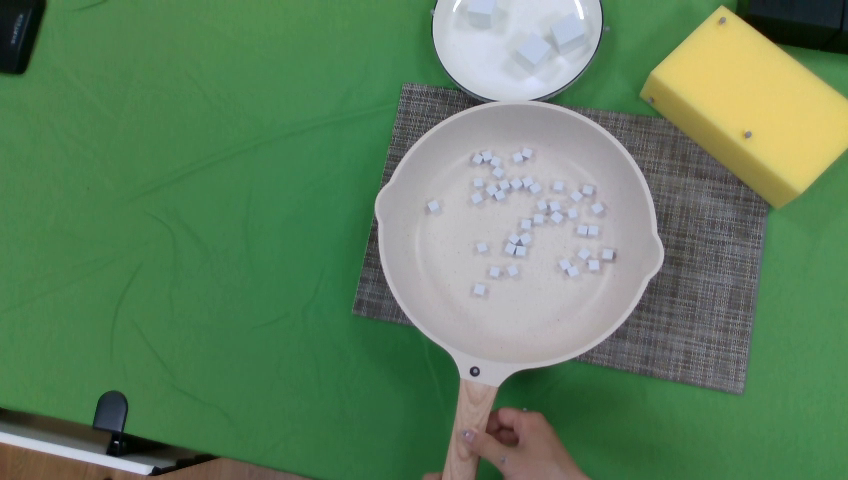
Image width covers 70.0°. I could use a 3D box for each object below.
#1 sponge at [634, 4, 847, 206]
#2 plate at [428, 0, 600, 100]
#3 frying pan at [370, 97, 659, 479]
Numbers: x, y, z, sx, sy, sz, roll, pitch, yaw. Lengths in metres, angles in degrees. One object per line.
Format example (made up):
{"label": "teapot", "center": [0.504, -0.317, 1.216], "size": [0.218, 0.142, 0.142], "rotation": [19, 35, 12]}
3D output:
{"label": "sponge", "center": [0.363, -0.153, 0.688], "size": [0.118, 0.061, 0.206], "rotation": [-45, 77, -4]}
{"label": "plate", "center": [0.110, -0.265, 0.752], "size": [0.207, 0.039, 0.207], "rotation": [-1, 80, 7]}
{"label": "frying pan", "center": [0.066, 0.086, 0.635], "size": [0.306, 0.103, 0.485], "rotation": [13, 72, 11]}
